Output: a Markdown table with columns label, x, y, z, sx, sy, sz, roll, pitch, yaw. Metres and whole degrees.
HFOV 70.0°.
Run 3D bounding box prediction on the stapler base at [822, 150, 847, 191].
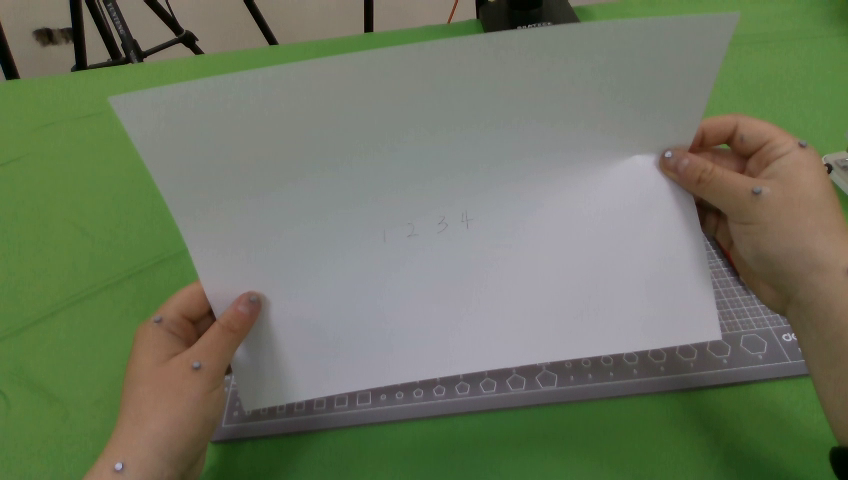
| label | x | y | z | sx | sy | sz | roll | pitch | yaw |
| --- | --- | --- | --- | --- | --- | --- | --- | --- | --- |
| stapler base | 0.389 | -0.040 | 0.505 | 0.041 | 0.025 | 0.129 | -12 | 45 | 0 |

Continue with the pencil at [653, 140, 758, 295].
| label | x | y | z | sx | sy | sz | roll | pitch | yaw |
| --- | --- | --- | --- | --- | --- | --- | --- | --- | --- |
| pencil | 0.237 | -0.027 | 0.519 | 0.012 | 0.012 | 0.192 | -9 | 46 | -1 |
